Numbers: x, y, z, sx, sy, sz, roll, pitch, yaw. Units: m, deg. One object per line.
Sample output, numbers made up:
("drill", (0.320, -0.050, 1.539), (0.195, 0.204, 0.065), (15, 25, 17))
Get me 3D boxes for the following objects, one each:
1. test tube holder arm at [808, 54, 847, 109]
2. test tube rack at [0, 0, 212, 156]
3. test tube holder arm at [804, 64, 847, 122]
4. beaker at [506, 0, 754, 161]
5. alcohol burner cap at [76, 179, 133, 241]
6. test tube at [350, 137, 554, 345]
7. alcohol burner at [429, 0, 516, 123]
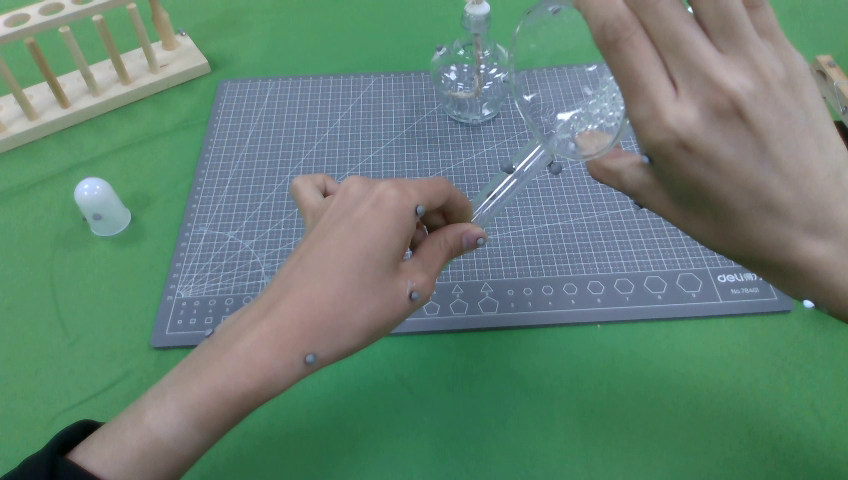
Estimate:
("test tube holder arm", (0.332, -0.118, 0.477), (0.015, 0.010, 0.087), (1, 50, -6))
("test tube rack", (-0.334, -0.160, 0.558), (0.242, 0.086, 0.066), (-29, 56, -19))
("test tube holder arm", (0.334, -0.081, 0.452), (0.015, 0.013, 0.176), (1, 49, -6))
("beaker", (0.101, -0.090, 0.295), (0.100, 0.084, 0.073), (-29, 64, -23))
("alcohol burner cap", (-0.255, -0.026, 0.478), (0.034, 0.048, 0.033), (0, 51, 1))
("test tube", (0.011, 0.004, 0.325), (0.150, 0.017, 0.017), (-46, 55, 14))
("alcohol burner", (0.043, -0.161, 0.525), (0.078, 0.120, 0.077), (0, 53, 0))
